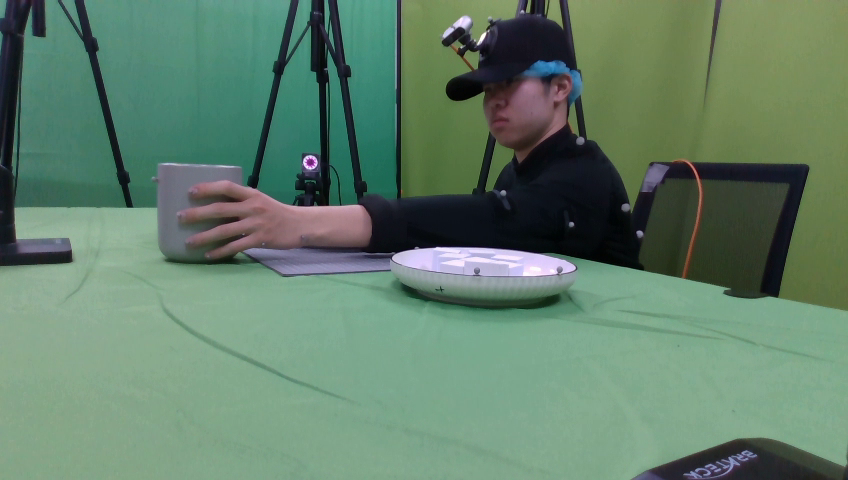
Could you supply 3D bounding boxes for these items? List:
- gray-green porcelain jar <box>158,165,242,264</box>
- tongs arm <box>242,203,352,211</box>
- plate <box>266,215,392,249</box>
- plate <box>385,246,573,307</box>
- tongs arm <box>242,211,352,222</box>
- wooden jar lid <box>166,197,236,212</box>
[{"bbox_3d":[-0.299,-0.036,0.811,0.106,0.126,0.106,2,7,0],"label":"gray-green porcelain jar"},{"bbox_3d":[-0.362,-0.068,1.406,0.386,0.026,0.050,2,9,-14],"label":"tongs arm"},{"bbox_3d":[-0.159,-0.015,1.019,0.209,0.038,0.209,3,7,0],"label":"plate"},{"bbox_3d":[0.060,0.041,0.678,0.208,0.039,0.207,3,7,0],"label":"plate"},{"bbox_3d":[-0.337,-0.052,1.329,0.389,0.028,0.028,-1,6,-27],"label":"tongs arm"},{"bbox_3d":[-0.369,-0.059,1.001,0.108,0.020,0.108,3,6,0],"label":"wooden jar lid"}]
